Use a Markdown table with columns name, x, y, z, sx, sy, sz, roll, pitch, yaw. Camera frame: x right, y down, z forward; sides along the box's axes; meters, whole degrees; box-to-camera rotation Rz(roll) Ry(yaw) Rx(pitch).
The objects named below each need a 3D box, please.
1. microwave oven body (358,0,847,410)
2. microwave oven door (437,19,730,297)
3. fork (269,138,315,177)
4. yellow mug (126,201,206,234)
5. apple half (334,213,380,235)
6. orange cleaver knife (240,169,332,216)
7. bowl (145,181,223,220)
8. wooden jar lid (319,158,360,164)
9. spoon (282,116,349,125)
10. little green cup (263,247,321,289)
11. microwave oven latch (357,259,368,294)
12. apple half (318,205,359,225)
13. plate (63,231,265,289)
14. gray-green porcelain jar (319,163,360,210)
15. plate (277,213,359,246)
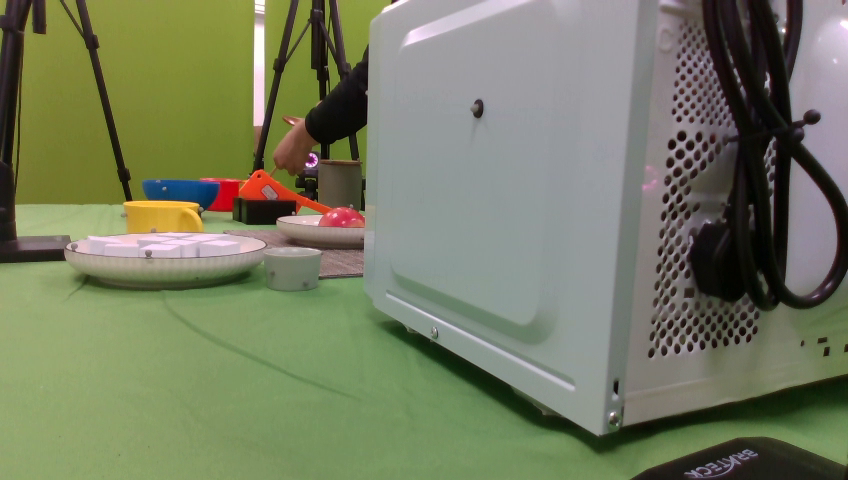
| name | x | y | z | sx | sy | sz | roll | pitch | yaw |
| --- | --- | --- | --- | --- | --- | --- | --- | --- | --- |
| microwave oven body | 0.210 | -0.051 | 0.471 | 0.444 | 0.260 | 0.324 | -1 | 7 | -28 |
| microwave oven door | 0.180 | -0.076 | 0.618 | 0.358 | 0.243 | 0.039 | -2 | 9 | -28 |
| fork | -0.347 | -0.185 | 1.483 | 0.207 | 0.018 | 0.028 | -40 | 0 | 8 |
| yellow mug | -0.361 | -0.019 | 0.865 | 0.130 | 0.064 | 0.100 | 6 | 9 | 27 |
| apple half | -0.112 | -0.029 | 1.034 | 0.081 | 0.033 | 0.081 | 0 | 9 | 0 |
| orange cleaver knife | -0.286 | -0.082 | 1.298 | 0.212 | 0.077 | 0.012 | 25 | -3 | -31 |
| bowl | -0.499 | -0.081 | 1.261 | 0.151 | 0.077 | 0.151 | 2 | 7 | 0 |
| wooden jar lid | -0.202 | -0.189 | 1.481 | 0.108 | 0.020 | 0.108 | 2 | 10 | 0 |
| spoon | -0.264 | -0.297 | 1.501 | 0.195 | 0.021 | 0.041 | -11 | 34 | -41 |
| little green cup | -0.142 | 0.029 | 0.649 | 0.061 | 0.038 | 0.061 | 2 | 5 | 0 |
| microwave oven latch | -0.019 | 0.031 | 0.530 | 0.079 | 0.029 | 0.030 | -1 | 7 | -28 |
| apple half | -0.126 | -0.028 | 0.954 | 0.081 | 0.053 | 0.074 | -2 | 11 | -33 |
| plate | -0.288 | 0.021 | 0.687 | 0.208 | 0.039 | 0.207 | 2 | 8 | 0 |
| gray-green porcelain jar | -0.205 | -0.126 | 1.490 | 0.106 | 0.126 | 0.106 | 2 | 8 | 0 |
| plate | -0.135 | -0.018 | 0.994 | 0.209 | 0.038 | 0.209 | 2 | 7 | 0 |
